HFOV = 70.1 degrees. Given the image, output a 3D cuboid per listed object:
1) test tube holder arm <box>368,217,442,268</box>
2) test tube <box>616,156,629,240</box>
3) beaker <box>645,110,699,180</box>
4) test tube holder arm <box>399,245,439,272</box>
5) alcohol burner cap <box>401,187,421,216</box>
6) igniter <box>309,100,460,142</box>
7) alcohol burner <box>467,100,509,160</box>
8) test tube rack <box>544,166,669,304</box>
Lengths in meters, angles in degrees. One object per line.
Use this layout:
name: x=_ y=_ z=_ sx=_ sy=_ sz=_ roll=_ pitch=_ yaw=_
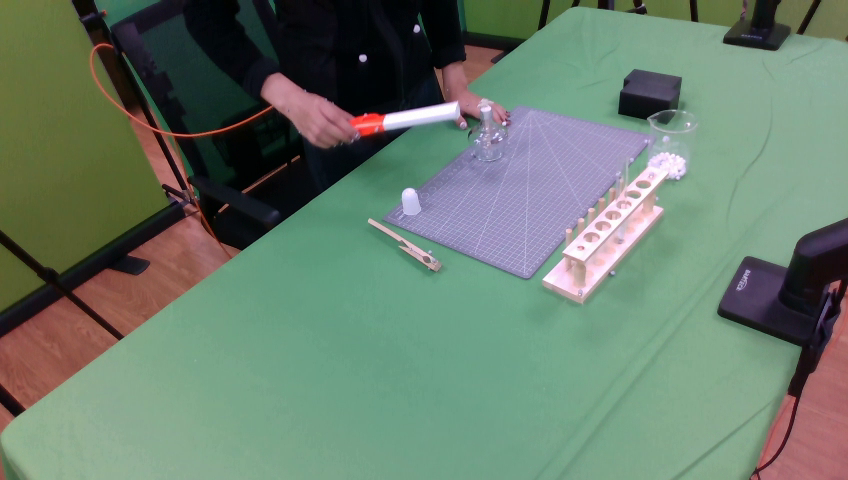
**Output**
test tube holder arm: x=-0.034 y=0.002 z=0.985 sx=0.177 sy=0.015 sz=0.013 roll=34 pitch=88 yaw=40
test tube: x=0.284 y=-0.057 z=0.869 sx=0.017 sy=0.151 sz=0.017 roll=-8 pitch=42 yaw=8
beaker: x=0.417 y=-0.160 z=1.032 sx=0.083 sy=0.101 sz=0.074 roll=25 pitch=51 yaw=35
test tube holder arm: x=-0.009 y=0.026 z=0.956 sx=0.087 sy=0.015 sz=0.010 roll=35 pitch=90 yaw=40
alcohol burner cap: x=-0.025 y=-0.070 z=1.048 sx=0.034 sy=0.048 sz=0.033 roll=-5 pitch=41 yaw=5
igniter: x=-0.074 y=-0.198 z=1.011 sx=0.275 sy=0.025 sz=0.057 roll=-6 pitch=41 yaw=20
alcohol burner: x=0.118 y=-0.210 z=1.131 sx=0.078 sy=0.119 sz=0.077 roll=-5 pitch=42 yaw=5
test tube rack: x=0.274 y=-0.018 z=0.903 sx=0.066 sy=0.085 sz=0.243 roll=26 pitch=51 yaw=35
